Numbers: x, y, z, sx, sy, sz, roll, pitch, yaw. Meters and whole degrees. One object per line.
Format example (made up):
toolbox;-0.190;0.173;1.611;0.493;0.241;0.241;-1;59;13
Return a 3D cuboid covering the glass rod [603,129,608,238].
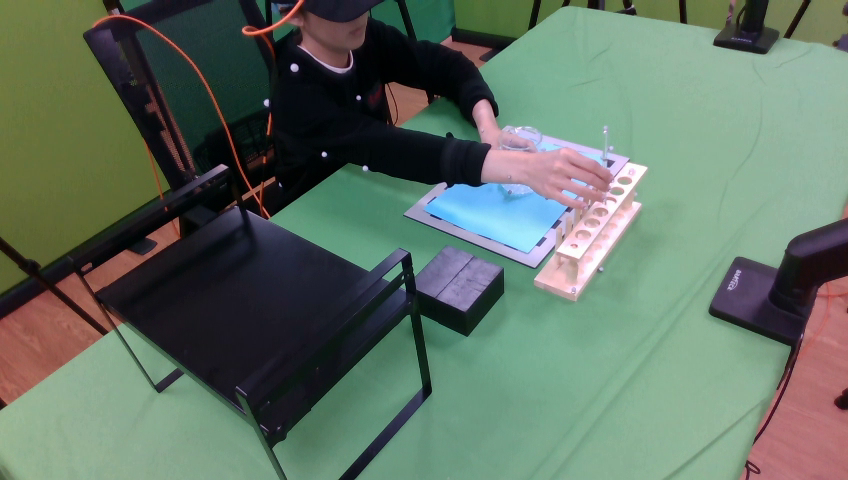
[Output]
glass rod;0.263;-0.076;0.873;0.008;0.201;0.008;-8;43;8

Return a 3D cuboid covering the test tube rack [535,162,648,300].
test tube rack;0.257;-0.024;0.916;0.066;0.085;0.243;22;49;30

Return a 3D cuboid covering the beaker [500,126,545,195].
beaker;0.168;-0.137;1.045;0.074;0.101;0.083;-7;39;0
